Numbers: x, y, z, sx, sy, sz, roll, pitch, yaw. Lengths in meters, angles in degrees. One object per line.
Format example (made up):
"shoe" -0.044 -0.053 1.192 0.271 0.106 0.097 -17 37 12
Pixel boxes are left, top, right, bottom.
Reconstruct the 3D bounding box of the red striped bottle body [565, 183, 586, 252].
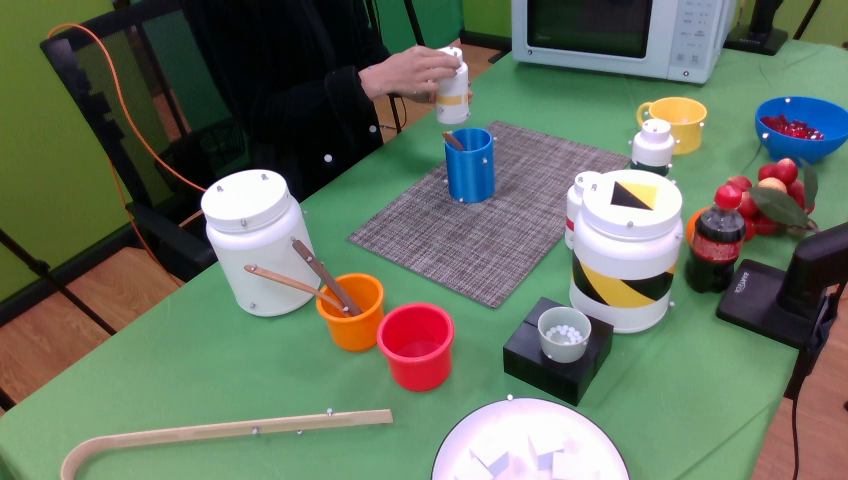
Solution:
"red striped bottle body" 0.247 -0.041 0.910 0.063 0.120 0.062 -3 39 3

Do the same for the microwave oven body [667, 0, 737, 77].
"microwave oven body" 0.462 -0.552 1.369 0.439 0.261 0.326 15 45 26

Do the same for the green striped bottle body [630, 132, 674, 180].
"green striped bottle body" 0.376 -0.135 1.001 0.063 0.120 0.063 -5 41 5

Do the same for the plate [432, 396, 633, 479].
"plate" 0.112 0.261 0.634 0.209 0.038 0.208 -5 40 4

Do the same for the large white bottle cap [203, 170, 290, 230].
"large white bottle cap" -0.241 -0.057 0.822 0.115 0.018 0.114 -4 40 4

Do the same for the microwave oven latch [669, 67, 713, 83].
"microwave oven latch" 0.556 -0.348 1.261 0.078 0.029 0.030 16 46 27

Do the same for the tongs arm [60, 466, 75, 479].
"tongs arm" -0.239 0.301 0.649 0.386 0.028 0.028 6 49 17

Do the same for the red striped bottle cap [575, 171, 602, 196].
"red striped bottle cap" 0.242 -0.082 0.876 0.044 0.018 0.044 -5 44 5

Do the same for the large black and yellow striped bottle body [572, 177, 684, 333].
"large black and yellow striped bottle body" 0.262 0.017 0.788 0.131 0.185 0.130 -5 40 4

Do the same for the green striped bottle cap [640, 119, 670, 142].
"green striped bottle cap" 0.371 -0.175 0.968 0.044 0.020 0.044 -4 41 4

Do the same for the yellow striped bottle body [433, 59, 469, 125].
"yellow striped bottle body" 0.048 -0.270 1.072 0.063 0.121 0.062 -2 41 2

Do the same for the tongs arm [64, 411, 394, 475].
"tongs arm" -0.228 0.240 0.715 0.385 0.026 0.050 -4 43 5

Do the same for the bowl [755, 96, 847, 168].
"bowl" 0.645 -0.178 1.041 0.151 0.077 0.150 -5 40 4

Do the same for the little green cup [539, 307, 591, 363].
"little green cup" 0.167 0.114 0.721 0.061 0.039 0.061 -4 43 4

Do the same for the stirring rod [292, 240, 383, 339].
"stirring rod" -0.118 0.068 0.826 0.176 0.006 0.014 49 60 -4

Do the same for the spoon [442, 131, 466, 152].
"spoon" 0.062 -0.144 1.000 0.041 0.195 0.021 11 79 23

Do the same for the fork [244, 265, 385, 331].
"fork" -0.142 0.078 0.806 0.209 0.018 0.028 30 33 -23

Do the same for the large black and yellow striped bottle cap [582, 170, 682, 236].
"large black and yellow striped bottle cap" 0.252 -0.048 0.735 0.115 0.019 0.114 -3 40 3

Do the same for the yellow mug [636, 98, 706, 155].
"yellow mug" 0.453 -0.217 1.128 0.100 0.064 0.129 -34 46 -27

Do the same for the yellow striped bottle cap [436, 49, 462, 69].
"yellow striped bottle cap" 0.043 -0.311 1.036 0.044 0.019 0.044 0 42 0

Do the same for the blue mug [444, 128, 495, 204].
"blue mug" 0.081 -0.139 1.058 0.082 0.106 0.116 -4 40 4

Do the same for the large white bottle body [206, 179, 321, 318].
"large white bottle body" -0.233 0.007 0.876 0.130 0.185 0.130 -5 40 4

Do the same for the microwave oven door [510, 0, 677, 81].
"microwave oven door" 0.354 -0.478 1.290 0.353 0.245 0.039 15 45 25
